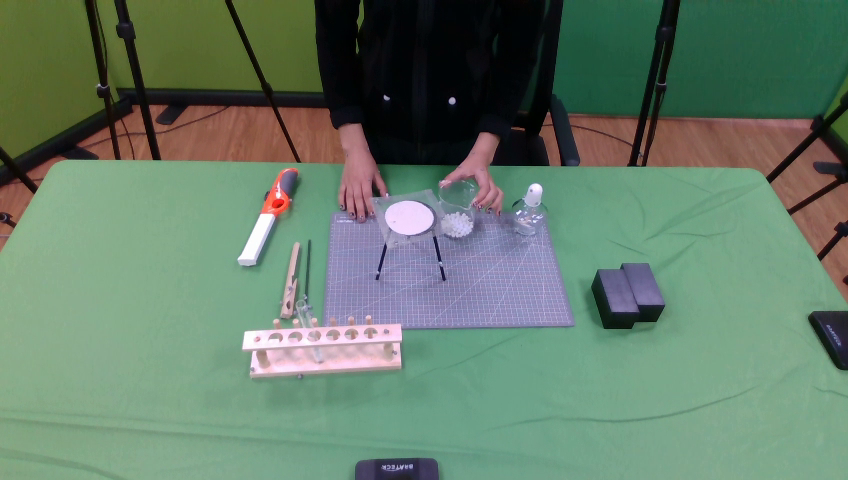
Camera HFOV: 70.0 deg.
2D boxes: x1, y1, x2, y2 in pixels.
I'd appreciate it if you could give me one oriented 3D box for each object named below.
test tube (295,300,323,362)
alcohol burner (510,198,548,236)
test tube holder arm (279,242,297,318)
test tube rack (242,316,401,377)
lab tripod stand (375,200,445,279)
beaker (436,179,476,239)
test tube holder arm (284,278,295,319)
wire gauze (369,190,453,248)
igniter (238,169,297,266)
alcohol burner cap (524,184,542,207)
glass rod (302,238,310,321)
[{"bbox_3d":[-0.176,0.143,0.935,0.017,0.151,0.017,-2,46,2],"label":"test tube"},{"bbox_3d":[0.214,-0.066,1.213,0.078,0.119,0.077,2,48,-3],"label":"alcohol burner"},{"bbox_3d":[-0.248,0.069,1.114,0.013,0.015,0.177,25,39,-27],"label":"test tube holder arm"},{"bbox_3d":[-0.161,0.166,0.983,0.242,0.085,0.066,-2,46,-6],"label":"test tube rack"},{"bbox_3d":[-0.023,0.003,1.113,0.148,0.132,0.147,4,45,-3],"label":"lab tripod stand"},{"bbox_3d":[0.066,-0.057,1.199,0.074,0.101,0.083,-21,51,-16],"label":"beaker"},{"bbox_3d":[-0.241,0.103,1.085,0.010,0.015,0.087,25,39,-27],"label":"test tube holder arm"},{"bbox_3d":[-0.025,-0.042,1.064,0.121,0.011,0.124,-11,48,-17],"label":"wire gauze"},{"bbox_3d":[-0.313,-0.055,1.224,0.057,0.025,0.275,1,45,10],"label":"igniter"},{"bbox_3d":[0.216,-0.090,1.186,0.034,0.048,0.033,1,56,-2],"label":"alcohol burner cap"},{"bbox_3d":[-0.218,0.069,1.125,0.008,0.008,0.198,-2,47,-5],"label":"glass rod"}]
